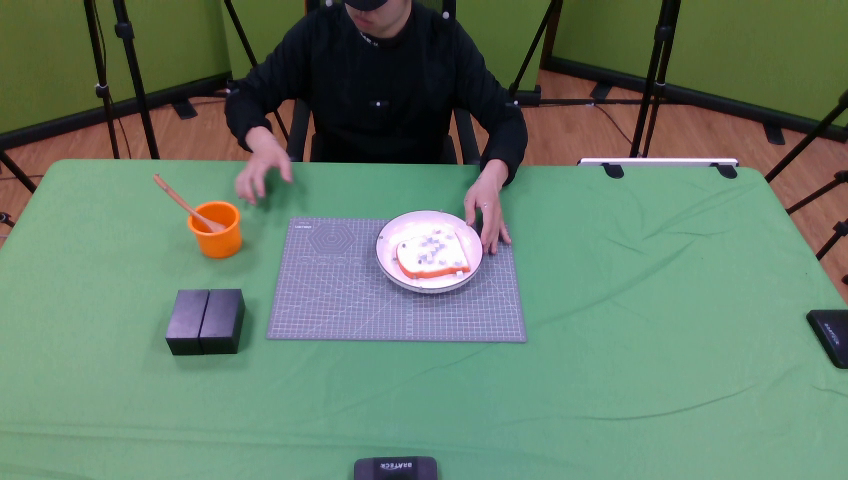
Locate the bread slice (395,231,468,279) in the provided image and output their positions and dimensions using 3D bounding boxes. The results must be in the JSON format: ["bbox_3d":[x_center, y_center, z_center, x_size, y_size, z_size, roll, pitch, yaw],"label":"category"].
[{"bbox_3d":[0.011,0.030,1.159,0.132,0.019,0.104,-8,47,-14],"label":"bread slice"}]

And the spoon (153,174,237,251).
[{"bbox_3d":[-0.422,-0.050,1.117,0.194,0.021,0.041,43,43,-19],"label":"spoon"}]

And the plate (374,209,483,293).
[{"bbox_3d":[0.009,0.024,1.160,0.209,0.038,0.208,2,46,-2],"label":"plate"}]
